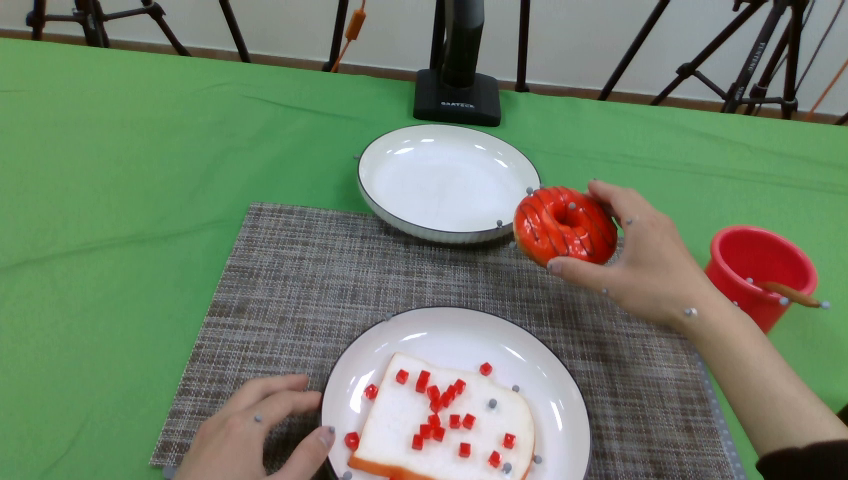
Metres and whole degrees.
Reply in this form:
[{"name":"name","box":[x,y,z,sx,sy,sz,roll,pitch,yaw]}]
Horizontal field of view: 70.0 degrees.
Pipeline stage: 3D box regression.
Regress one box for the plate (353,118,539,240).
[{"name":"plate","box":[0.024,-0.067,0.685,0.208,0.039,0.205,5,42,-4]}]

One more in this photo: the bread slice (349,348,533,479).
[{"name":"bread slice","box":[0.020,0.140,0.473,0.131,0.019,0.104,13,45,7]}]

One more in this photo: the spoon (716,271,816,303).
[{"name":"spoon","box":[0.305,0.040,0.545,0.041,0.021,0.194,20,1,11]}]

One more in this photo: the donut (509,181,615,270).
[{"name":"donut","box":[0.126,-0.013,0.557,0.099,0.048,0.098,6,46,-6]}]

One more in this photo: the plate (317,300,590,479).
[{"name":"plate","box":[0.022,0.137,0.474,0.209,0.038,0.207,4,44,-4]}]
